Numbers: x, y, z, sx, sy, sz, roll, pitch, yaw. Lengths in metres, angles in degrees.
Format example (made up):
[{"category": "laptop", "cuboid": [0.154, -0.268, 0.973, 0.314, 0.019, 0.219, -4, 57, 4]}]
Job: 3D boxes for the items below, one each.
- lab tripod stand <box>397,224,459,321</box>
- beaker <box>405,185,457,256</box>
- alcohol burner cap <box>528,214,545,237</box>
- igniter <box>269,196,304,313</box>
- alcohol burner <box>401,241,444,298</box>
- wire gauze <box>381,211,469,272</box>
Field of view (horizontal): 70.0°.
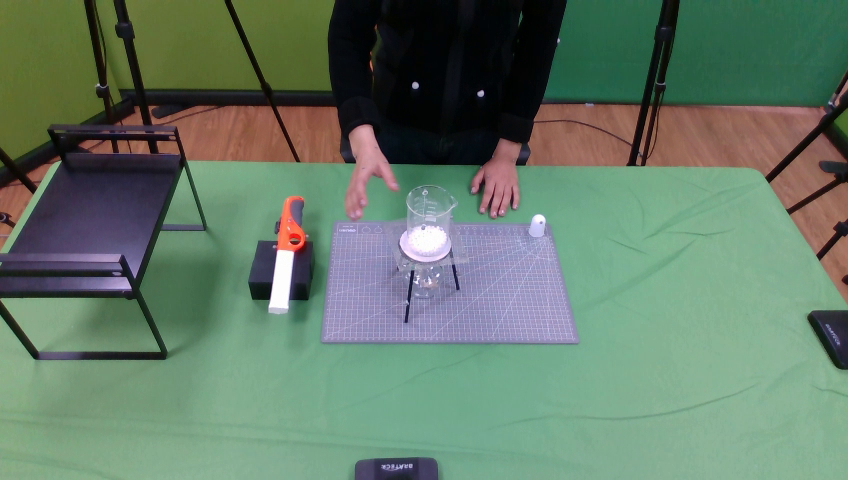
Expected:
[{"category": "lab tripod stand", "cuboid": [-0.003, 0.052, 1.067, 0.148, 0.132, 0.147, 3, 47, -3]}, {"category": "beaker", "cuboid": [0.009, -0.029, 0.987, 0.084, 0.101, 0.073, -1, 47, -5]}, {"category": "alcohol burner cap", "cuboid": [0.231, -0.032, 1.230, 0.034, 0.048, 0.033, 2, 46, -2]}, {"category": "igniter", "cuboid": [-0.249, 0.016, 1.095, 0.057, 0.025, 0.274, 8, 46, -13]}, {"category": "alcohol burner", "cuboid": [-0.001, 0.048, 1.085, 0.078, 0.119, 0.077, 2, 44, -2]}, {"category": "wire gauze", "cuboid": [0.000, 0.001, 1.024, 0.125, 0.011, 0.120, -11, 48, -12]}]
